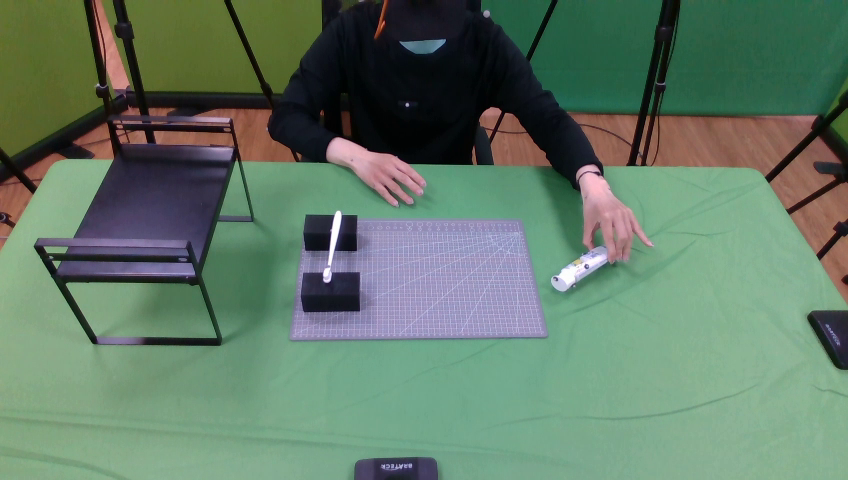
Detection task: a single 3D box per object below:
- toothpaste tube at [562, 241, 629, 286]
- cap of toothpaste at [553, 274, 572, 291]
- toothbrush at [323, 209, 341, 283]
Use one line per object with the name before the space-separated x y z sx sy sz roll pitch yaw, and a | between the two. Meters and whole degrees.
toothpaste tube | 0.319 0.041 1.151 0.165 0.035 0.055 -30 32 -28
cap of toothpaste | 0.255 0.076 1.114 0.037 0.037 0.011 31 52 23
toothbrush | -0.167 0.005 1.106 0.014 0.017 0.180 -6 44 8
